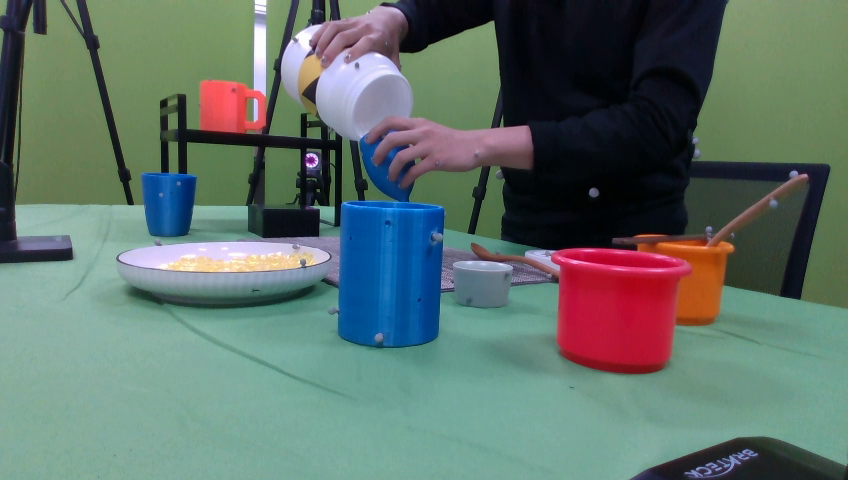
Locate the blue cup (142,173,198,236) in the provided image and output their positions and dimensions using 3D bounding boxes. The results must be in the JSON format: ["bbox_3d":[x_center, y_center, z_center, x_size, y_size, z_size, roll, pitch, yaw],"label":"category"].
[{"bbox_3d":[-0.425,-0.060,1.014,0.093,0.100,0.092,4,9,0],"label":"blue cup"}]

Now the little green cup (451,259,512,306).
[{"bbox_3d":[0.057,0.043,0.611,0.061,0.038,0.061,3,8,0],"label":"little green cup"}]

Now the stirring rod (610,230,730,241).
[{"bbox_3d":[0.241,-0.005,0.582,0.177,0.006,0.014,-3,10,-34],"label":"stirring rod"}]

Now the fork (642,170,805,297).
[{"bbox_3d":[0.261,0.004,0.545,0.028,0.018,0.207,5,-37,-15],"label":"fork"}]

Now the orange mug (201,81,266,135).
[{"bbox_3d":[-0.377,-0.260,1.198,0.126,0.101,0.083,-3,8,-6],"label":"orange mug"}]

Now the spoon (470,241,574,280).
[{"bbox_3d":[0.124,0.025,0.800,0.042,0.021,0.192,23,-6,-34],"label":"spoon"}]

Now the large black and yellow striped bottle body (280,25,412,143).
[{"bbox_3d":[-0.116,-0.232,0.907,0.131,0.130,0.183,-5,35,-45],"label":"large black and yellow striped bottle body"}]

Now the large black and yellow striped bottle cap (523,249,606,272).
[{"bbox_3d":[0.198,0.028,0.851,0.115,0.019,0.115,5,5,0],"label":"large black and yellow striped bottle cap"}]

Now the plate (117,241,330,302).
[{"bbox_3d":[-0.203,0.031,0.630,0.209,0.038,0.209,3,7,0],"label":"plate"}]

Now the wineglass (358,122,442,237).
[{"bbox_3d":[-0.035,-0.074,0.848,0.074,0.172,0.074,-21,-11,-4],"label":"wineglass"}]

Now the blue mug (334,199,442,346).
[{"bbox_3d":[-0.034,0.020,0.498,0.083,0.106,0.116,0,7,-19],"label":"blue mug"}]
